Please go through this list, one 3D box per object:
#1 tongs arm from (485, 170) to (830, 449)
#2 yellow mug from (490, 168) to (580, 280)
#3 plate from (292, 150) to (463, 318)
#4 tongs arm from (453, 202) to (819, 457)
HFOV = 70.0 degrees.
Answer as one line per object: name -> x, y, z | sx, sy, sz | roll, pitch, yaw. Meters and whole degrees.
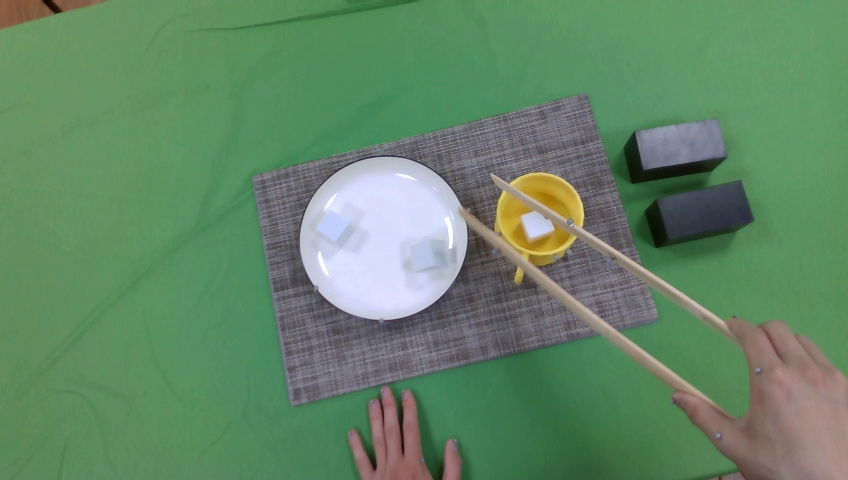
tongs arm -> 0.177, 0.038, 0.550 | 0.050, 0.027, 0.380 | -46, 53, -9
yellow mug -> 0.125, -0.013, 0.719 | 0.100, 0.064, 0.130 | 18, 80, 7
plate -> -0.056, -0.006, 0.745 | 0.207, 0.039, 0.206 | -1, 78, 4
tongs arm -> 0.154, 0.060, 0.546 | 0.028, 0.028, 0.383 | -42, 52, -11
